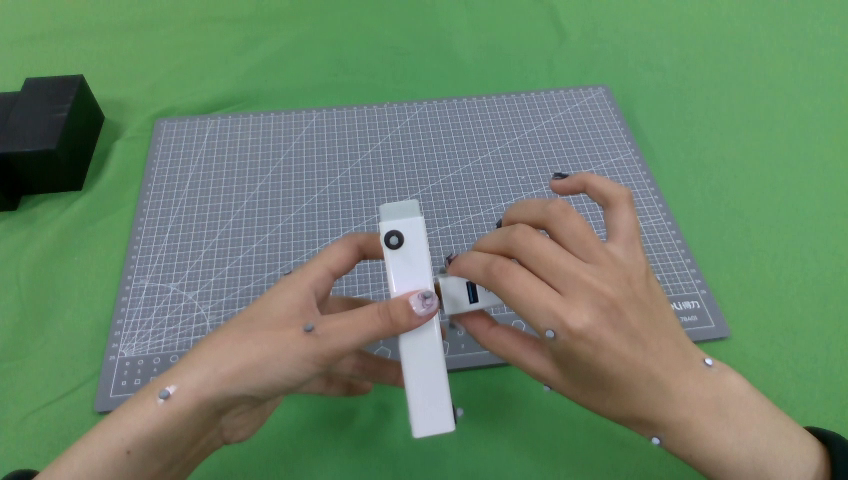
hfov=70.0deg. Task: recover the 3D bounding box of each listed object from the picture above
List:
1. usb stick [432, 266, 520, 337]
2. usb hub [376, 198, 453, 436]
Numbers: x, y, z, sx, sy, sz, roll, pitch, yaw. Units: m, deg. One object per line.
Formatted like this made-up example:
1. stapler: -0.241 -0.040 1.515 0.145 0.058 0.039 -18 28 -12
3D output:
1. usb stick: 0.021 0.036 0.337 0.059 0.021 0.027 -19 21 -4
2. usb hub: -0.006 0.040 0.338 0.025 0.049 0.125 -9 96 0
